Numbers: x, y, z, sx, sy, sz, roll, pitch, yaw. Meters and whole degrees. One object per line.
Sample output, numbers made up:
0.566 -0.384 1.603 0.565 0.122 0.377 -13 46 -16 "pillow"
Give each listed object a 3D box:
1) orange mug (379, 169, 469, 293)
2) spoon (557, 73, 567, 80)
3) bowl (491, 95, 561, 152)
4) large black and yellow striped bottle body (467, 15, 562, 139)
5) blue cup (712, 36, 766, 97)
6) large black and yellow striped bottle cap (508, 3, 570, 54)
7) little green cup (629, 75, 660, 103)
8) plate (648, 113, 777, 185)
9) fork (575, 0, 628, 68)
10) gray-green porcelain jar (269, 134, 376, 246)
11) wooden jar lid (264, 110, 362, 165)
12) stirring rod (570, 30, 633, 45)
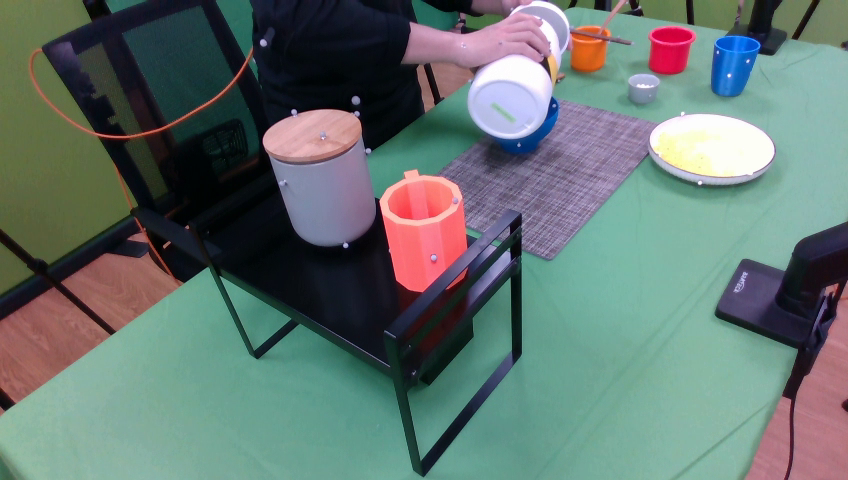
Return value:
-0.002 -0.019 0.665 0.083 0.101 0.125 -12 45 -4 "orange mug"
0.250 -0.336 1.332 0.194 0.022 0.041 -33 32 -25 "spoon"
0.185 -0.222 1.160 0.151 0.077 0.150 -5 40 4 "bowl"
0.155 -0.274 1.004 0.130 0.131 0.183 8 54 18 "large black and yellow striped bottle body"
0.627 -0.350 1.227 0.092 0.100 0.092 -4 39 4 "blue cup"
0.201 -0.366 1.073 0.114 0.115 0.019 7 57 17 "large black and yellow striped bottle cap"
0.458 -0.314 1.260 0.061 0.039 0.061 -4 40 4 "little green cup"
0.506 -0.158 1.073 0.209 0.038 0.208 -5 40 4 "plate"
0.413 -0.481 1.377 0.207 0.019 0.028 -57 43 12 "fork"
-0.115 -0.064 0.715 0.106 0.127 0.105 -4 40 4 "gray-green porcelain jar"
-0.122 -0.112 0.673 0.108 0.021 0.108 -4 37 4 "wooden jar lid"
0.381 -0.452 1.345 0.174 0.006 0.014 25 49 33 "stirring rod"
